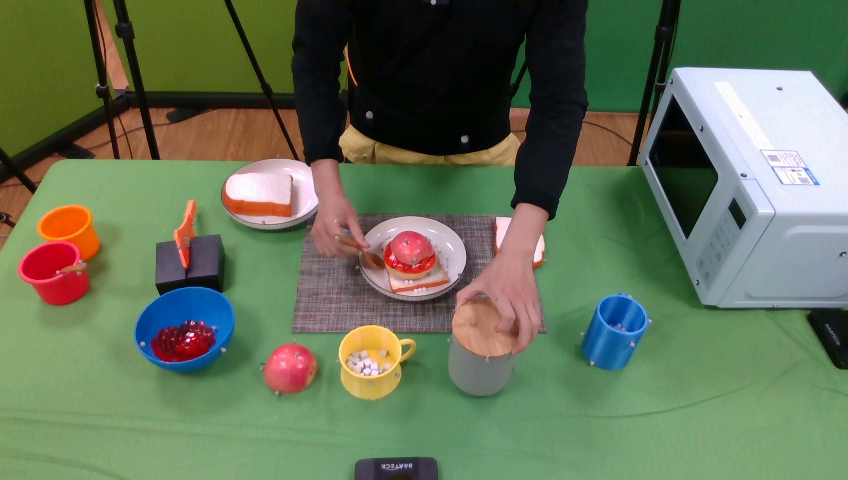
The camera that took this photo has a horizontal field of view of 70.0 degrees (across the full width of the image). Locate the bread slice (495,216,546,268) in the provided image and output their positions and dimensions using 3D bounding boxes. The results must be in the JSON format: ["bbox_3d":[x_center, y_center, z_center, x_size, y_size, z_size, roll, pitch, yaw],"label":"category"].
[{"bbox_3d":[0.194,0.002,1.205,0.105,0.019,0.131,5,45,2],"label":"bread slice"}]

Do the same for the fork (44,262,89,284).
[{"bbox_3d":[-0.599,0.054,1.014,0.207,0.019,0.028,-15,29,45],"label":"fork"}]

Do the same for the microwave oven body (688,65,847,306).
[{"bbox_3d":[0.669,-0.111,1.176,0.326,0.261,0.439,0,46,-3],"label":"microwave oven body"}]

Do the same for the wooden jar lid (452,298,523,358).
[{"bbox_3d":[0.095,0.135,0.915,0.108,0.021,0.107,3,48,-3],"label":"wooden jar lid"}]

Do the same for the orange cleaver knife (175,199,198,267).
[{"bbox_3d":[-0.438,-0.017,1.138,0.012,0.077,0.210,-14,27,-7],"label":"orange cleaver knife"}]

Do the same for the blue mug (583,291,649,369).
[{"bbox_3d":[0.324,0.142,1.023,0.082,0.106,0.116,15,47,11],"label":"blue mug"}]

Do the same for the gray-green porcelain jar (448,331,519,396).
[{"bbox_3d":[0.093,0.177,0.960,0.106,0.127,0.105,2,47,-2],"label":"gray-green porcelain jar"}]

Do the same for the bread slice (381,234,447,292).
[{"bbox_3d":[-0.028,0.040,1.143,0.107,0.018,0.133,-11,51,-15],"label":"bread slice"}]

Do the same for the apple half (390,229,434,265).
[{"bbox_3d":[-0.021,0.003,1.085,0.081,0.033,0.081,7,45,-7],"label":"apple half"}]

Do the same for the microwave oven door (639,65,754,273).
[{"bbox_3d":[0.522,-0.147,1.193,0.039,0.245,0.353,0,47,-3],"label":"microwave oven door"}]

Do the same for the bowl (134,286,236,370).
[{"bbox_3d":[-0.377,0.156,0.981,0.151,0.077,0.150,2,46,-2],"label":"bowl"}]

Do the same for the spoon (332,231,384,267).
[{"bbox_3d":[-0.114,0.012,1.062,0.021,0.194,0.041,-40,65,1],"label":"spoon"}]

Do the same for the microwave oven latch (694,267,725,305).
[{"bbox_3d":[0.524,0.082,1.115,0.030,0.029,0.078,4,46,1],"label":"microwave oven latch"}]

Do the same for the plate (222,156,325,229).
[{"bbox_3d":[-0.308,-0.095,1.251,0.209,0.038,0.208,2,47,-2],"label":"plate"}]

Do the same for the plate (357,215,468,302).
[{"bbox_3d":[-0.022,0.037,1.141,0.208,0.039,0.206,2,46,-2],"label":"plate"}]

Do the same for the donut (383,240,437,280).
[{"bbox_3d":[-0.025,0.030,1.109,0.099,0.048,0.098,1,48,-1],"label":"donut"}]

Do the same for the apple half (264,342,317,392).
[{"bbox_3d":[-0.214,0.198,0.970,0.074,0.053,0.080,19,48,10],"label":"apple half"}]

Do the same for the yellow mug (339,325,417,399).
[{"bbox_3d":[-0.072,0.190,0.978,0.131,0.064,0.099,-17,50,-20],"label":"yellow mug"}]
